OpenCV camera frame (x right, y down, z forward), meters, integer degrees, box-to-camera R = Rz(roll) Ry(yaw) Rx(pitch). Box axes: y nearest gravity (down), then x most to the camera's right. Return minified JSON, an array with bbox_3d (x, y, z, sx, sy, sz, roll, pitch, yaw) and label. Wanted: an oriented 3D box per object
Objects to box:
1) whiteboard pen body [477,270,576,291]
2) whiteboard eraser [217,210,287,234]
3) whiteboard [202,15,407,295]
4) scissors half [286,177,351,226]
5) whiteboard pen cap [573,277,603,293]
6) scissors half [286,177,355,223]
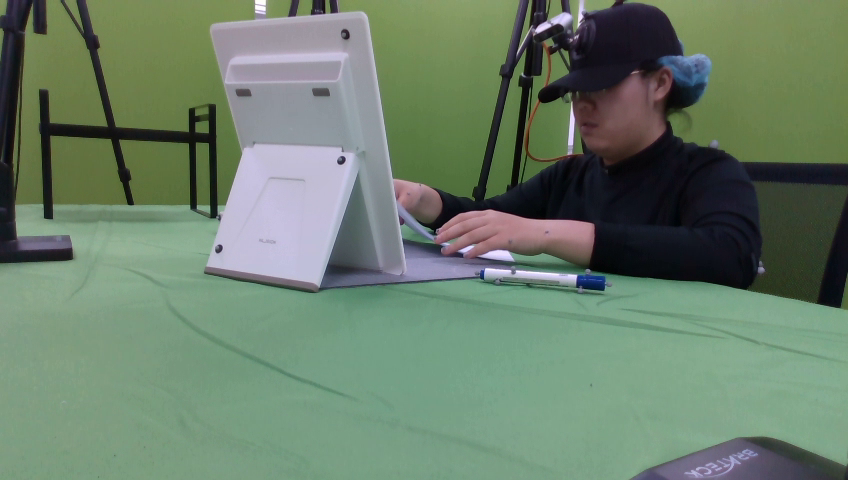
[{"bbox_3d":[0.131,0.048,0.706,0.140,0.017,0.017,4,8,18],"label":"whiteboard pen body"},{"bbox_3d":[-0.310,-0.034,1.094,0.113,0.042,0.055,-2,11,-38],"label":"whiteboard eraser"},{"bbox_3d":[-0.167,-0.073,0.668,0.216,0.305,0.144,7,30,28],"label":"whiteboard"},{"bbox_3d":[-0.232,-0.086,1.317,0.175,0.013,0.040,37,17,5],"label":"scissors half"},{"bbox_3d":[0.186,0.051,0.687,0.033,0.018,0.018,4,7,18],"label":"whiteboard pen cap"},{"bbox_3d":[-0.229,-0.090,1.337,0.175,0.013,0.040,33,12,-13],"label":"scissors half"}]
